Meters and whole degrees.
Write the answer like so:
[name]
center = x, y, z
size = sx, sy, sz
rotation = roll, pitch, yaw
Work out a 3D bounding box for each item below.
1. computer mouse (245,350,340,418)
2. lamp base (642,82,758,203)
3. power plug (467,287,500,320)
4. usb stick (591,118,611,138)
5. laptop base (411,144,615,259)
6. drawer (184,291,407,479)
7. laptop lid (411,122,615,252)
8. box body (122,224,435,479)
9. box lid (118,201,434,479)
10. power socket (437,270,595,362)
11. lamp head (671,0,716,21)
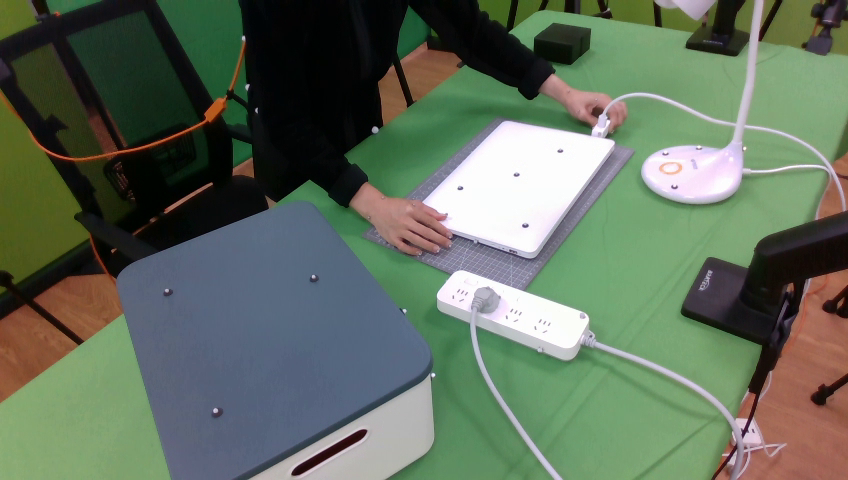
[computer mouse]
center = -0.165, 0.173, 0.754
size = 0.118, 0.041, 0.062
rotation = -18, 34, -18
[lamp base]
center = 0.464, -0.174, 0.993
size = 0.179, 0.181, 0.159
rotation = -5, 41, -1
[power plug]
center = 0.073, 0.092, 0.814
size = 0.035, 0.053, 0.073
rotation = 29, 54, 34
[usb stick]
center = 0.334, -0.204, 1.150
size = 0.021, 0.027, 0.059
rotation = 24, 54, 22
[laptop base]
center = 0.167, -0.102, 1.075
size = 0.234, 0.023, 0.355
rotation = 17, 46, 30
[drawer]
center = -0.155, 0.179, 0.719
size = 0.195, 0.073, 0.210
rotation = -27, 40, -21
[laptop lid]
center = 0.164, -0.112, 1.069
size = 0.240, 0.013, 0.357
rotation = 18, 46, 31
[box body]
center = -0.175, 0.142, 0.725
size = 0.255, 0.161, 0.360
rotation = -25, 43, -20
[box lid]
center = -0.182, 0.087, 0.675
size = 0.264, 0.015, 0.368
rotation = -25, 42, -20
[power socket]
center = 0.119, 0.101, 0.832
size = 0.225, 0.033, 0.072
rotation = 19, 48, 27
[lamp head]
center = 0.375, -0.373, 0.807
size = 0.122, 0.113, 0.112
rotation = -40, 27, 32
